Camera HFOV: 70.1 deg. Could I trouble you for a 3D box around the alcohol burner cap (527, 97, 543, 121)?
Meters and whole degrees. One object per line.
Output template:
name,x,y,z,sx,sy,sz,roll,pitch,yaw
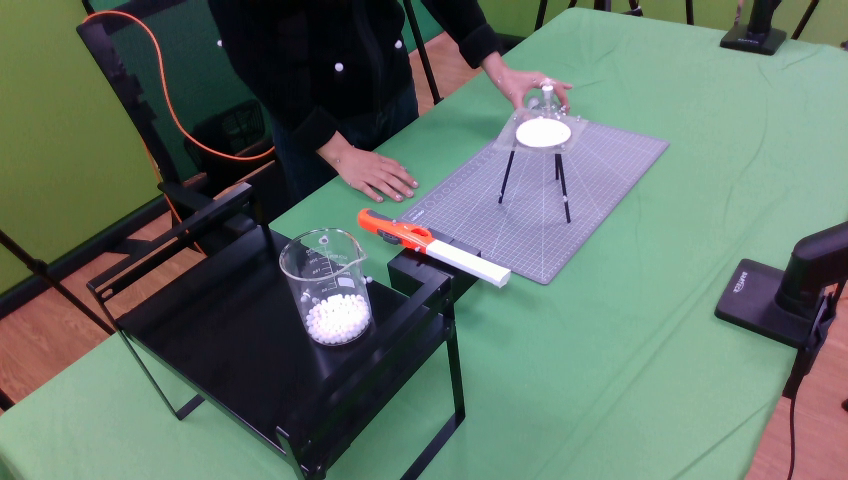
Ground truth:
alcohol burner cap,0.227,-0.271,1.242,0.034,0.048,0.033,-9,41,8

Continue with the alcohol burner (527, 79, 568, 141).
alcohol burner,0.236,-0.252,1.161,0.078,0.119,0.077,-6,40,6

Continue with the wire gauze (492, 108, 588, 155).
wire gauze,0.185,-0.170,0.953,0.121,0.011,0.125,13,44,22

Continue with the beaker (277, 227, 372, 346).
beaker,-0.090,0.048,0.593,0.084,0.101,0.073,-3,41,5

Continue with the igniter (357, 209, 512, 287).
igniter,0.004,0.006,0.891,0.274,0.025,0.057,23,37,30

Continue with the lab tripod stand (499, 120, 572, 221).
lab tripod stand,0.198,-0.117,0.992,0.148,0.132,0.147,-3,40,3
